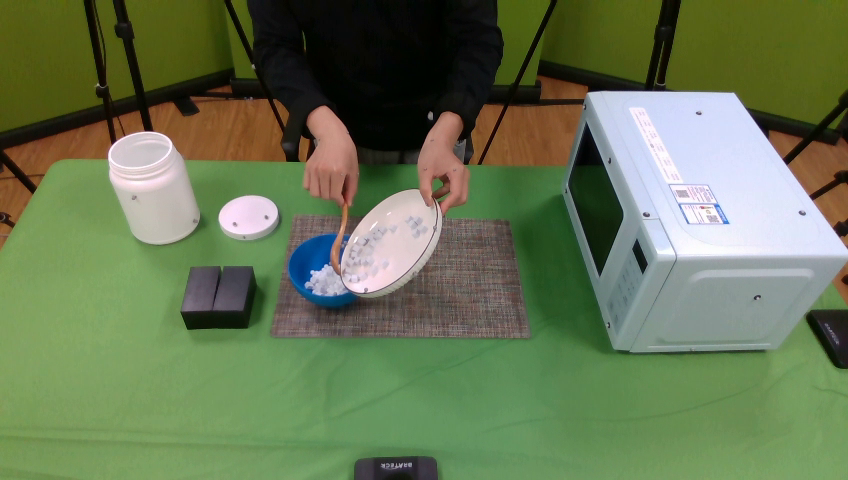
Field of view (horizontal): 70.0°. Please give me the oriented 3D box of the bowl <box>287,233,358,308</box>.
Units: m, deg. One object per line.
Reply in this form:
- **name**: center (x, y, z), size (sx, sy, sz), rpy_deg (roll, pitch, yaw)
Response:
- **bowl**: center (-0.165, 0.068, 1.078), size (0.151, 0.077, 0.150), rpy_deg (3, 45, -3)

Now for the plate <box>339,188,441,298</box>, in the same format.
- **plate**: center (-0.052, 0.008, 0.998), size (0.209, 0.038, 0.208), rpy_deg (-27, 41, 27)

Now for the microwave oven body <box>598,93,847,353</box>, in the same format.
- **microwave oven body**: center (0.475, -0.041, 1.109), size (0.326, 0.261, 0.438), rpy_deg (-1, 45, -4)

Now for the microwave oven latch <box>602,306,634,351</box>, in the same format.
- **microwave oven latch**: center (0.332, 0.153, 1.044), size (0.030, 0.029, 0.078), rpy_deg (0, 45, -4)

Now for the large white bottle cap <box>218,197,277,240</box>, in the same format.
- **large white bottle cap**: center (-0.354, -0.045, 1.220), size (0.115, 0.018, 0.114), rpy_deg (2, 45, -2)

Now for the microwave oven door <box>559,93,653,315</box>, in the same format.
- **microwave oven door**: center (0.327, -0.074, 1.123), size (0.039, 0.245, 0.353), rpy_deg (-1, 46, -5)

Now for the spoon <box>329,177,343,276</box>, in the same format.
- **spoon**: center (-0.149, -0.027, 1.034), size (0.021, 0.042, 0.192), rpy_deg (-11, 61, 15)

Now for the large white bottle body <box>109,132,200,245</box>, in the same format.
- **large white bottle body**: center (-0.506, -0.097, 1.141), size (0.131, 0.185, 0.130), rpy_deg (2, 46, -2)
